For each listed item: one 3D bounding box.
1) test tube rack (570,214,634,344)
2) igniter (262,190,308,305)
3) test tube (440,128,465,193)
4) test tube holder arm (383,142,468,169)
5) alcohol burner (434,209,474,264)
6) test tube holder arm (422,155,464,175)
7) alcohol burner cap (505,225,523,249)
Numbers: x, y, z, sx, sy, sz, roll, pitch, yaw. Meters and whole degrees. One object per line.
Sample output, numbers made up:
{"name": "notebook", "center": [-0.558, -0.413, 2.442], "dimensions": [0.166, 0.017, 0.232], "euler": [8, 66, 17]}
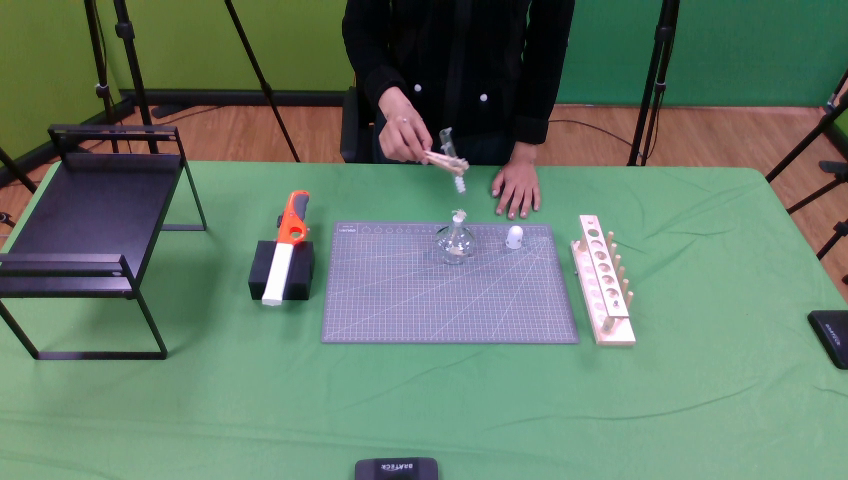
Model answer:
{"name": "test tube rack", "center": [0.333, 0.067, 1.116], "dimensions": [0.067, 0.085, 0.241], "euler": [1, 46, -3]}
{"name": "igniter", "center": [-0.252, 0.004, 1.107], "dimensions": [0.057, 0.025, 0.275], "euler": [7, 47, -6]}
{"name": "test tube", "center": [0.050, -0.132, 1.037], "dimensions": [0.017, 0.151, 0.017], "euler": [-8, 52, 11]}
{"name": "test tube holder arm", "center": [0.000, -0.152, 1.078], "dimensions": [0.177, 0.015, 0.013], "euler": [20, 62, 31]}
{"name": "alcohol burner", "center": [0.058, -0.011, 1.147], "dimensions": [0.078, 0.119, 0.077], "euler": [3, 44, -3]}
{"name": "test tube holder arm", "center": [0.032, -0.133, 1.052], "dimensions": [0.087, 0.015, 0.010], "euler": [28, 67, 34]}
{"name": "alcohol burner cap", "center": [0.180, -0.009, 1.203], "dimensions": [0.034, 0.048, 0.033], "euler": [2, 47, -2]}
